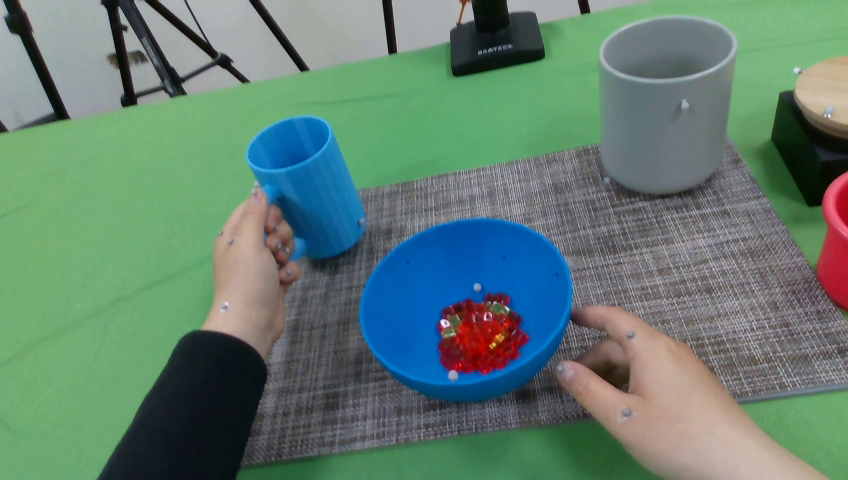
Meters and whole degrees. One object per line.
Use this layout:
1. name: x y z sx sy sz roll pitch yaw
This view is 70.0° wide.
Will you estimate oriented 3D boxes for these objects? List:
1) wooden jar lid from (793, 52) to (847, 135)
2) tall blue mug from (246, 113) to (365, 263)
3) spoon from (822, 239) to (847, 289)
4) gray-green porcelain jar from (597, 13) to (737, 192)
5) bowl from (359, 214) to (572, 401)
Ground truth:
1. wooden jar lid: 0.362 -0.119 0.493 0.108 0.021 0.107 -10 44 10
2. tall blue mug: -0.104 -0.037 0.539 0.078 0.109 0.106 -8 46 7
3. spoon: 0.350 -0.036 0.396 0.022 0.194 0.041 22 32 -24
4. gray-green porcelain jar: 0.207 -0.114 0.528 0.106 0.128 0.105 -9 44 9
5. bowl: 0.035 0.060 0.444 0.151 0.077 0.150 -9 44 9
